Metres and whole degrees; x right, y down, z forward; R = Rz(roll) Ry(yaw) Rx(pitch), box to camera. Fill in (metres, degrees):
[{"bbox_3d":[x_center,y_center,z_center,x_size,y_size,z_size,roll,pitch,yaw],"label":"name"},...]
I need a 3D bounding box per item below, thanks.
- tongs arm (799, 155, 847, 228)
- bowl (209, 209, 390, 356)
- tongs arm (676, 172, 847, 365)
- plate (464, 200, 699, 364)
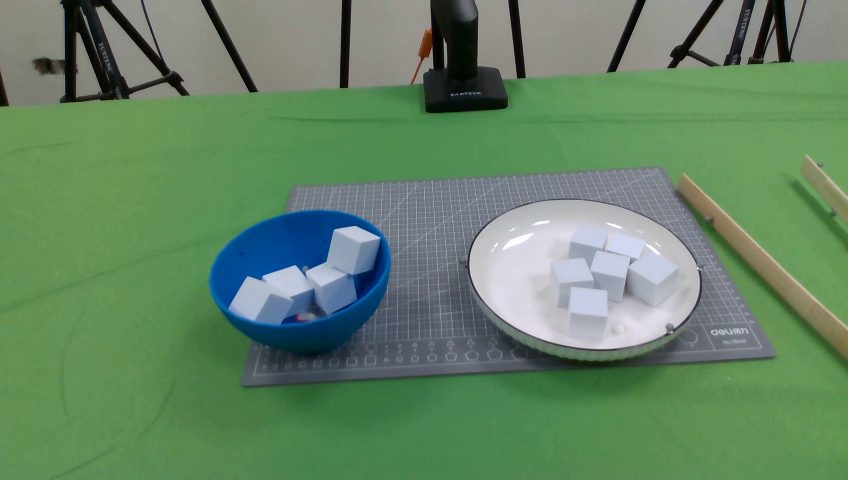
[{"bbox_3d":[0.420,0.036,0.551,0.051,0.027,0.381,-4,40,0],"label":"tongs arm"},{"bbox_3d":[-0.101,0.047,0.531,0.151,0.077,0.150,-1,39,2],"label":"bowl"},{"bbox_3d":[0.342,0.047,0.548,0.028,0.028,0.383,-9,40,-12],"label":"tongs arm"},{"bbox_3d":[0.141,0.037,0.561,0.207,0.039,0.205,-1,39,2],"label":"plate"}]
